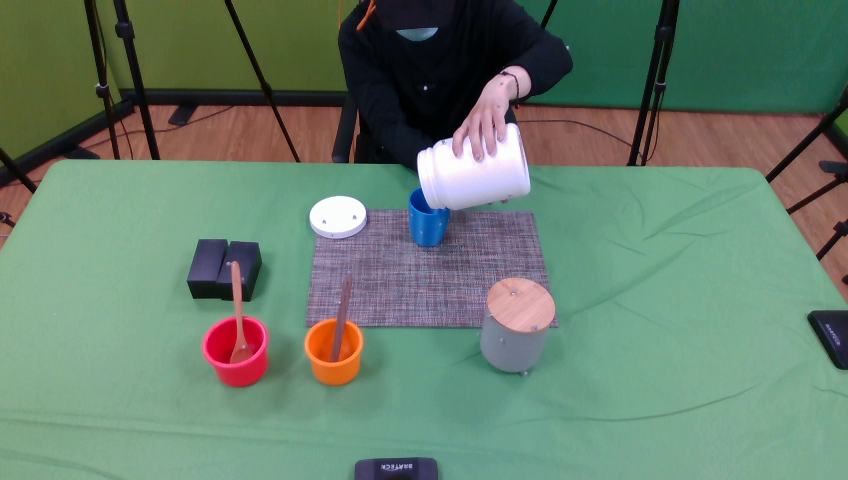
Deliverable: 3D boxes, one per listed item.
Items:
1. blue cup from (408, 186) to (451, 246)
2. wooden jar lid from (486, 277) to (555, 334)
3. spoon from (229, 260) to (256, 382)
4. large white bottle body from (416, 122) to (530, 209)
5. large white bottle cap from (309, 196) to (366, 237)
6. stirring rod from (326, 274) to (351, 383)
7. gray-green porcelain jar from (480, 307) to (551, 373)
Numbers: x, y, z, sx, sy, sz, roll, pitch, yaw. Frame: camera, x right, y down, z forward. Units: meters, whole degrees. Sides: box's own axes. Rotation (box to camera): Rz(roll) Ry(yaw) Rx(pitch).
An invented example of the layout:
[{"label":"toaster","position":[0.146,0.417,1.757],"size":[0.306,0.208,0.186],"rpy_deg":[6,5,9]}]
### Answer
[{"label":"blue cup","position":[0.008,-0.042,1.177],"size":[0.093,0.101,0.092],"rpy_deg":[3,47,-3]},{"label":"wooden jar lid","position":[0.150,0.105,0.948],"size":[0.108,0.021,0.107],"rpy_deg":[3,47,-3]},{"label":"spoon","position":[-0.294,0.129,0.966],"size":[0.042,0.021,0.193],"rpy_deg":[-4,91,-9]},{"label":"large white bottle body","position":[0.089,-0.128,1.089],"size":[0.184,0.131,0.130],"rpy_deg":[-12,44,14]},{"label":"large white bottle cap","position":[-0.176,-0.049,1.229],"size":[0.115,0.018,0.114],"rpy_deg":[0,43,0]},{"label":"stirring rod","position":[-0.137,0.142,0.971],"size":[0.014,0.006,0.176],"rpy_deg":[9,89,1]},{"label":"gray-green porcelain jar","position":[0.148,0.148,0.992],"size":[0.106,0.127,0.105],"rpy_deg":[2,46,-2]}]
